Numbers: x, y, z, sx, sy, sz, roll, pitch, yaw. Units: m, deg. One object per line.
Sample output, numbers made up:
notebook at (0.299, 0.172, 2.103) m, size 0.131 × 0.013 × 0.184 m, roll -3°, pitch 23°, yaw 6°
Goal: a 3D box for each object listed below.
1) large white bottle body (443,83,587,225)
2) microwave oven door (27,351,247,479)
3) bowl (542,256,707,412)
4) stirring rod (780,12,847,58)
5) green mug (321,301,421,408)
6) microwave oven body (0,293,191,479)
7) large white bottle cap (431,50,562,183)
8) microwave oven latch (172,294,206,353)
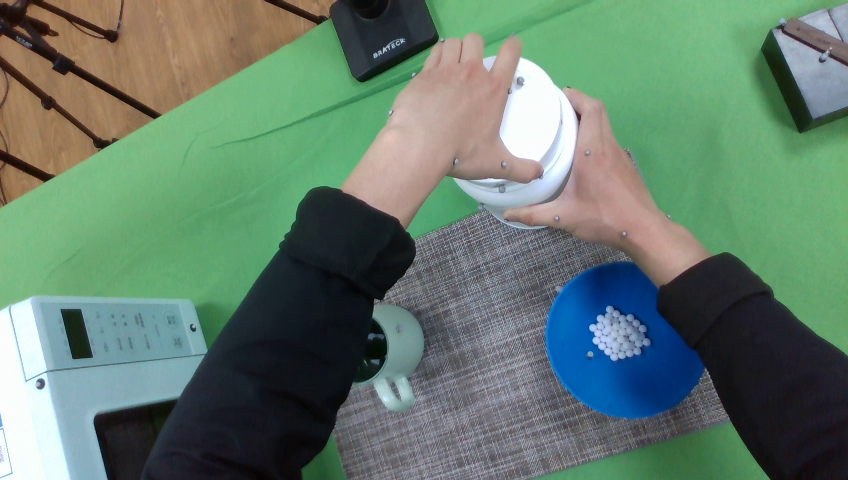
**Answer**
large white bottle body at (0.093, -0.092, 0.614) m, size 0.130 × 0.186 × 0.130 m, roll -3°, pitch 81°, yaw 19°
microwave oven door at (-0.273, 0.301, 0.656) m, size 0.039 × 0.245 × 0.354 m, roll -25°, pitch 78°, yaw 15°
bowl at (0.201, 0.093, 0.617) m, size 0.151 × 0.077 × 0.151 m, roll -2°, pitch 85°, yaw 19°
stirring rod at (0.411, -0.164, 0.556) m, size 0.175 × 0.006 × 0.014 m, roll 37°, pitch 132°, yaw 17°
green mug at (-0.050, 0.130, 0.684) m, size 0.092 × 0.105 × 0.124 m, roll -32°, pitch 77°, yaw 13°
microwave oven body at (-0.415, 0.321, 0.706) m, size 0.326 × 0.261 × 0.439 m, roll -24°, pitch 79°, yaw 14°
large white bottle cap at (0.061, -0.107, 0.527) m, size 0.114 × 0.018 × 0.114 m, roll -3°, pitch 83°, yaw 21°
microwave oven latch at (-0.315, 0.110, 0.793) m, size 0.030 × 0.029 × 0.079 m, roll -24°, pitch 79°, yaw 14°
